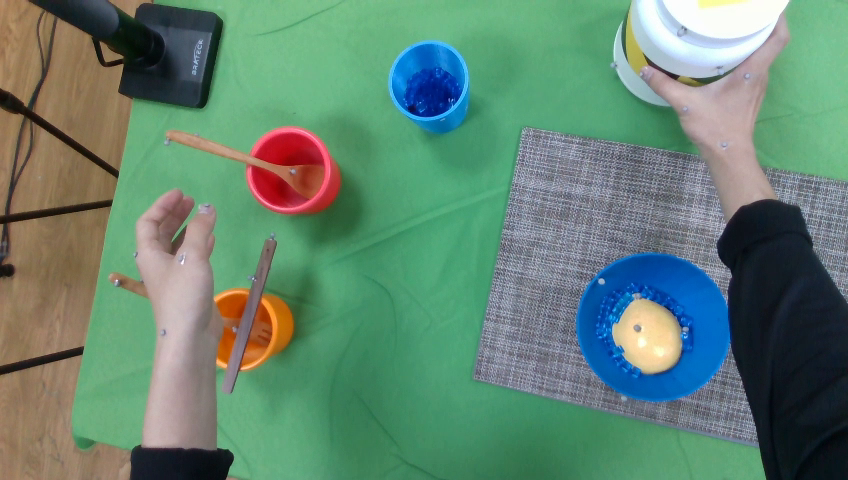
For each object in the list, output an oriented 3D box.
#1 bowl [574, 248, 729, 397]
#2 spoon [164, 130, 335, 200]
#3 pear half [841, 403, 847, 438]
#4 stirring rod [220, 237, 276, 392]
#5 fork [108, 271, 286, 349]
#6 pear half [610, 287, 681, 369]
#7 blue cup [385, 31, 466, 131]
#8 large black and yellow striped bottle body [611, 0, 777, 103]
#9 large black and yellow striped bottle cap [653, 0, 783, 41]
[{"bbox_3d":[0.233,0.085,0.646,0.151,0.077,0.151,0,87,8],"label":"bowl"},{"bbox_3d":[-0.189,-0.088,0.679,0.195,0.021,0.041,18,92,-36],"label":"spoon"},{"bbox_3d":[0.456,0.189,0.598,0.056,0.110,0.076,-8,82,8],"label":"pear half"},{"bbox_3d":[-0.193,0.081,0.665,0.014,0.006,0.176,16,89,6],"label":"stirring rod"},{"bbox_3d":[-0.246,0.079,0.674,0.209,0.018,0.028,30,102,-36],"label":"fork"},{"bbox_3d":[0.235,0.092,0.639,0.070,0.031,0.087,-15,81,4],"label":"pear half"},{"bbox_3d":[0.009,-0.164,0.677,0.092,0.100,0.092,-1,86,9],"label":"blue cup"},{"bbox_3d":[0.266,-0.225,0.606,0.130,0.184,0.130,-1,86,8],"label":"large black and yellow striped bottle body"},{"bbox_3d":[0.256,-0.231,0.523,0.115,0.019,0.115,-1,87,9],"label":"large black and yellow striped bottle cap"}]
